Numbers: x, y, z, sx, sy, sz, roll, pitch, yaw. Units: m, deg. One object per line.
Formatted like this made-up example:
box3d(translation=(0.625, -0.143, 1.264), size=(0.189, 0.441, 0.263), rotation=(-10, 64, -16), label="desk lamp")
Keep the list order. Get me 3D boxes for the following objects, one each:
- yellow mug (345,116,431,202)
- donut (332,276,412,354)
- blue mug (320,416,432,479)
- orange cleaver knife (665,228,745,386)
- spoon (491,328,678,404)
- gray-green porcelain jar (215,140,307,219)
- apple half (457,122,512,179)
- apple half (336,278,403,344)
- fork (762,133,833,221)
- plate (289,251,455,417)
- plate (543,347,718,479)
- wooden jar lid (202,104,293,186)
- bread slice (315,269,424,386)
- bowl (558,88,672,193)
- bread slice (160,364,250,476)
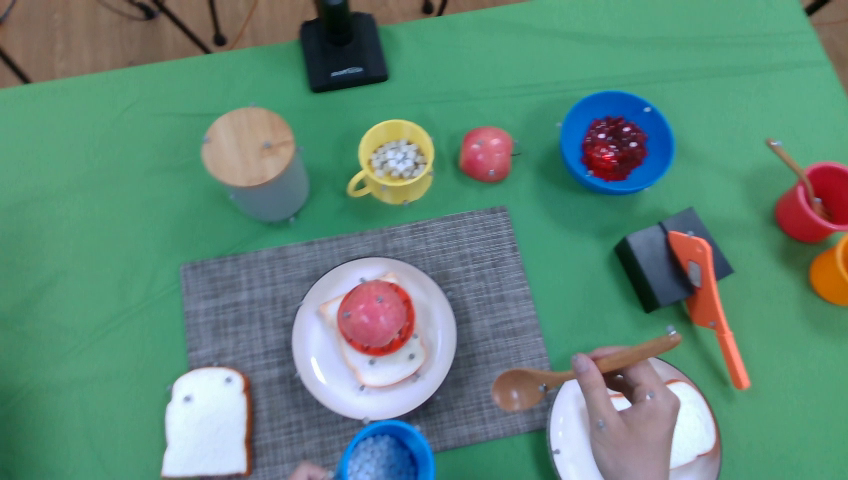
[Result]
box3d(translation=(-0.053, -0.102, 0.830), size=(0.131, 0.064, 0.099), rotation=(-34, 75, -11), label="yellow mug")
box3d(translation=(-0.063, 0.092, 0.745), size=(0.099, 0.048, 0.098), rotation=(0, 72, -1), label="donut")
box3d(translation=(-0.058, 0.222, 0.574), size=(0.117, 0.106, 0.081), rotation=(-13, 69, -17), label="blue mug")
box3d(translation=(0.354, 0.083, 0.768), size=(0.012, 0.077, 0.211), rotation=(-21, 95, -15), label="orange cleaver knife")
box3d(translation=(0.131, 0.111, 0.525), size=(0.021, 0.193, 0.041), rotation=(-32, 91, -45), label="spoon")
box3d(translation=(-0.212, -0.092, 0.791), size=(0.106, 0.127, 0.105), rotation=(0, 71, -1), label="gray-green porcelain jar")
box3d(translation=(0.086, -0.132, 0.850), size=(0.074, 0.053, 0.080), rotation=(10, 72, 5), label="apple half")
box3d(translation=(-0.064, 0.083, 0.711), size=(0.081, 0.033, 0.081), rotation=(-1, 74, 5), label="apple half")
box3d(translation=(0.491, -0.080, 0.791), size=(0.209, 0.018, 0.028), rotation=(33, 67, -34), label="fork")
box3d(translation=(-0.065, 0.117, 0.767), size=(0.208, 0.039, 0.206), rotation=(0, 72, -1), label="plate")
box3d(translation=(0.246, 0.236, 0.737), size=(0.209, 0.038, 0.207), rotation=(0, 71, -1), label="plate")
box3d(translation=(-0.211, -0.113, 0.732), size=(0.108, 0.021, 0.107), rotation=(0, 69, 0), label="wooden jar lid")
box3d(translation=(-0.061, 0.115, 0.768), size=(0.107, 0.018, 0.133), rotation=(-27, 74, -10), label="bread slice")
box3d(translation=(0.254, -0.125, 0.838), size=(0.151, 0.077, 0.150), rotation=(0, 72, -1), label="bowl")
box3d(translation=(-0.267, 0.218, 0.739), size=(0.105, 0.019, 0.130), rotation=(-3, 73, -3), label="bread slice")
